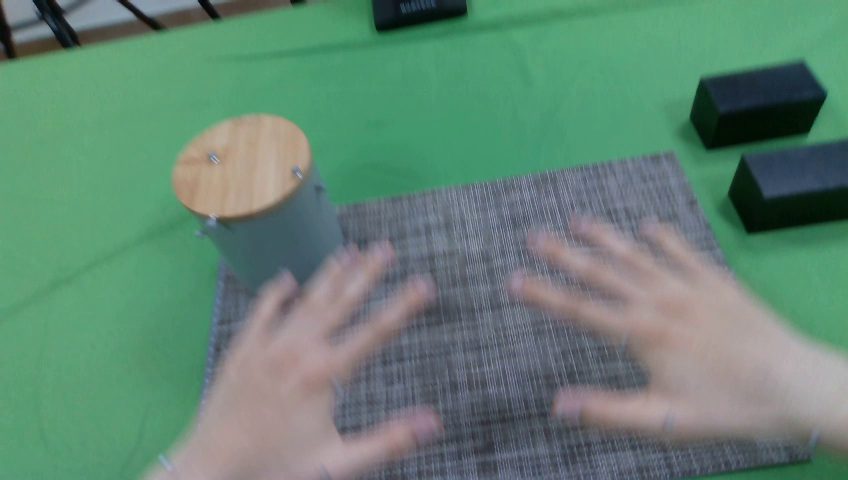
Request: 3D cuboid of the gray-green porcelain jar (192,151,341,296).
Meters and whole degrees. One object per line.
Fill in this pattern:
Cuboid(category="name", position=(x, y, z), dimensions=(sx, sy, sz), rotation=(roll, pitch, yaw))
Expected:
Cuboid(category="gray-green porcelain jar", position=(-0.133, -0.019, 0.532), dimensions=(0.106, 0.128, 0.105), rotation=(-4, 53, 6))

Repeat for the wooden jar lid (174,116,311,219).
Cuboid(category="wooden jar lid", position=(-0.142, -0.056, 0.483), dimensions=(0.108, 0.021, 0.107), rotation=(-3, 54, 4))
